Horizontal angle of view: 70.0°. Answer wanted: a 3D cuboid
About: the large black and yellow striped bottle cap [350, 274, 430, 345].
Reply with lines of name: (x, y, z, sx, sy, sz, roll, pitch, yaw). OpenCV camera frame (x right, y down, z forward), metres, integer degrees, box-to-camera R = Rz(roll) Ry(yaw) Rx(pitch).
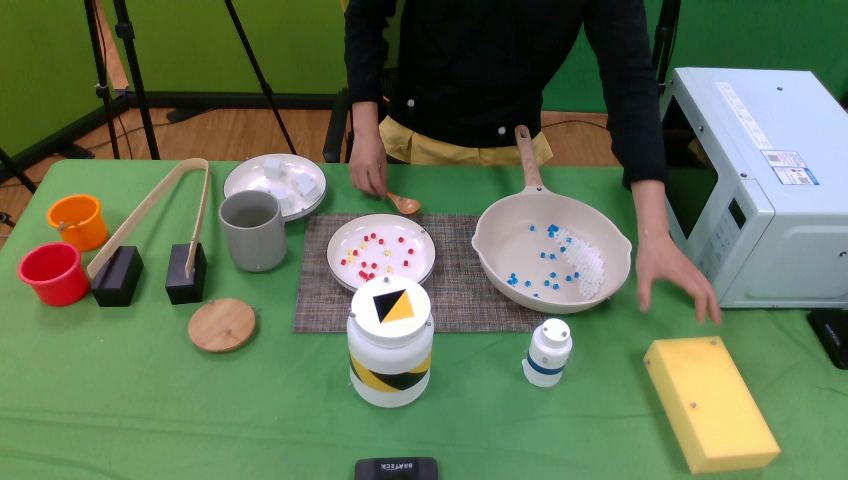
large black and yellow striped bottle cap: (-0.048, 0.097, 0.868, 0.115, 0.019, 0.114, 3, 48, -3)

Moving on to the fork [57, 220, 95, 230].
fork: (-0.624, -0.027, 1.087, 0.028, 0.207, 0.018, -3, 92, -17)

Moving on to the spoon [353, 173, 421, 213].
spoon: (-0.081, -0.104, 1.274, 0.193, 0.022, 0.041, 32, 70, 28)

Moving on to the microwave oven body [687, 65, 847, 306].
microwave oven body: (0.669, -0.111, 1.176, 0.326, 0.261, 0.439, 0, 46, -3)

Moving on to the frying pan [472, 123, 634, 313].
frying pan: (0.235, -0.060, 1.207, 0.307, 0.103, 0.484, 1, 55, -6)

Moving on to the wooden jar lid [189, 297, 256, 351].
wooden jar lid: (-0.342, 0.145, 1.033, 0.108, 0.021, 0.107, 2, 45, -2)

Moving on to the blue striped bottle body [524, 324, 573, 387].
blue striped bottle body: (0.200, 0.178, 0.970, 0.063, 0.121, 0.062, 2, 46, -2)

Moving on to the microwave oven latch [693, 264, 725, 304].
microwave oven latch: (0.522, 0.081, 1.116, 0.030, 0.029, 0.078, 2, 46, -1)

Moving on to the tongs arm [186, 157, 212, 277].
tongs arm: (-0.445, -0.058, 1.169, 0.051, 0.026, 0.382, -4, 37, -6)

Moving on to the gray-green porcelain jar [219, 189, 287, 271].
gray-green porcelain jar: (-0.310, -0.014, 1.113, 0.106, 0.127, 0.105, 2, 46, -2)

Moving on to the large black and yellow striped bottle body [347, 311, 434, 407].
large black and yellow striped bottle body: (-0.052, 0.157, 0.929, 0.131, 0.185, 0.130, 2, 47, -2)

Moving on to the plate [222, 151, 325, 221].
plate: (-0.310, -0.106, 1.263, 0.208, 0.039, 0.206, 2, 47, -2)

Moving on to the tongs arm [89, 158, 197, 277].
tongs arm: (-0.530, -0.058, 1.163, 0.028, 0.028, 0.385, 1, 36, 7)

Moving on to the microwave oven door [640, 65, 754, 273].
microwave oven door: (0.523, -0.147, 1.193, 0.039, 0.245, 0.353, 0, 47, -3)

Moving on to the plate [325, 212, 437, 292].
plate: (-0.080, 0.030, 1.143, 0.209, 0.038, 0.208, 2, 46, -2)

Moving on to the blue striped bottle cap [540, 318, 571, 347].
blue striped bottle cap: (0.203, 0.142, 0.933, 0.044, 0.021, 0.044, 3, 49, -3)

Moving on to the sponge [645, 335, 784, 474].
sponge: (0.449, 0.253, 0.956, 0.118, 0.061, 0.205, -4, 46, -7)
